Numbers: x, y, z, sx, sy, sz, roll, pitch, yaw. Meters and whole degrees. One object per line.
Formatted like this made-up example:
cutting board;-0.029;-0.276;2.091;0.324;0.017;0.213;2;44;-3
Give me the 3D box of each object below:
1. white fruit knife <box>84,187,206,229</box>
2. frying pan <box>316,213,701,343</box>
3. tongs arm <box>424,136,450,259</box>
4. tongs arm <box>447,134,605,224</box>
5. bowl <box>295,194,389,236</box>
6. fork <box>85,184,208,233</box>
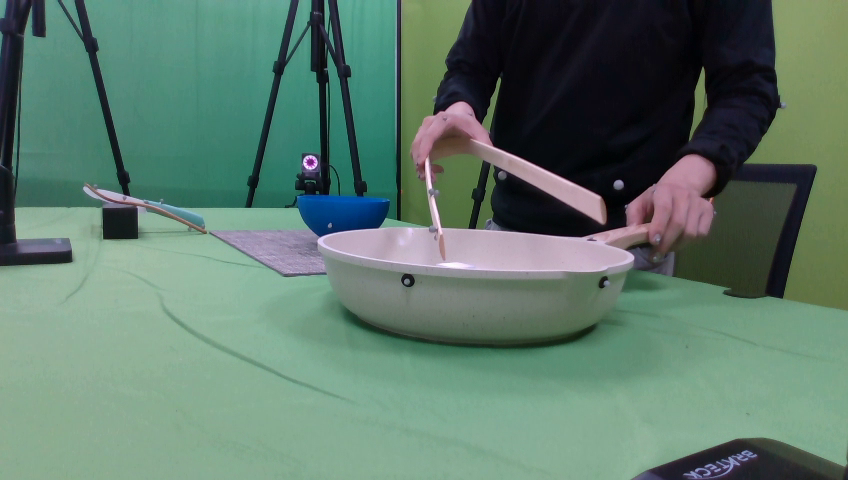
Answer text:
white fruit knife;-0.488;-0.059;1.071;0.208;0.027;0.016;17;4;-33
frying pan;0.133;0.014;0.629;0.490;0.102;0.305;-11;14;-30
tongs arm;0.024;-0.065;0.682;0.051;0.026;0.384;-13;20;1
tongs arm;0.098;-0.081;0.687;0.028;0.028;0.386;-20;22;-9
bowl;-0.132;-0.032;0.980;0.151;0.077;0.151;2;7;0
fork;-0.462;-0.051;1.020;0.208;0.018;0.028;22;-8;-37
